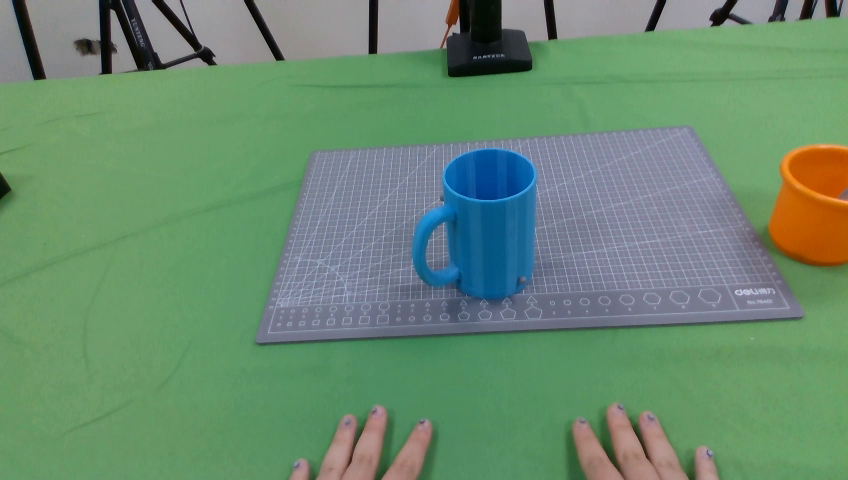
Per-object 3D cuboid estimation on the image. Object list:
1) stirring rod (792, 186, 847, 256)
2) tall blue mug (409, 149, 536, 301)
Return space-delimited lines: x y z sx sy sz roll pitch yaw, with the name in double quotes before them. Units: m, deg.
"stirring rod" 0.377 -0.057 0.509 0.176 0.006 0.014 -53 36 13
"tall blue mug" 0.046 -0.003 0.508 0.077 0.109 0.107 19 47 26
